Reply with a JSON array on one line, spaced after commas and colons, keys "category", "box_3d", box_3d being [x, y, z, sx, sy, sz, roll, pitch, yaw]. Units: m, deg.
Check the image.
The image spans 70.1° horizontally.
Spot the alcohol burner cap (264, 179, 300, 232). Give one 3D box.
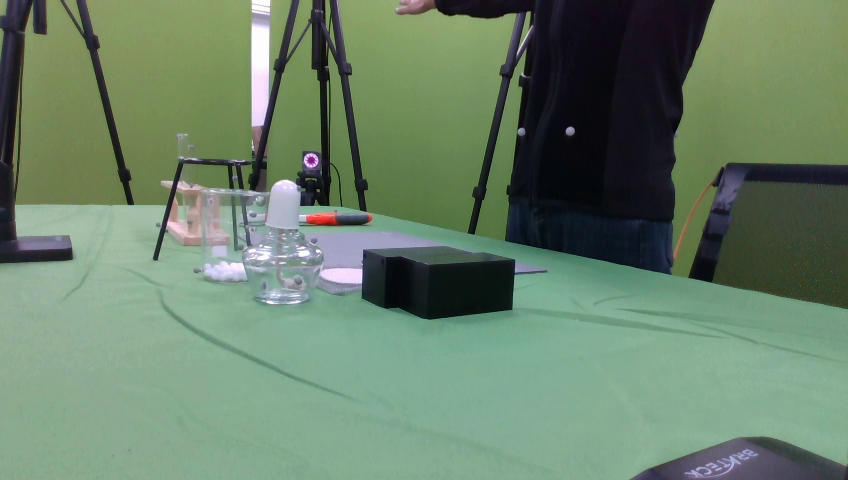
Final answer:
[{"category": "alcohol burner cap", "box_3d": [-0.134, -0.034, 0.579, 0.034, 0.048, 0.034, 9, 10, -1]}]

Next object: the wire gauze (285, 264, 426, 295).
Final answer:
[{"category": "wire gauze", "box_3d": [-0.079, 0.039, 0.692, 0.122, 0.011, 0.124, -4, 11, -37]}]

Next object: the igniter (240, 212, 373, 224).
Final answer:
[{"category": "igniter", "box_3d": [-0.237, -0.045, 1.250, 0.278, 0.025, 0.057, -2, -2, -31]}]

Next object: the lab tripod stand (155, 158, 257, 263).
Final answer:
[{"category": "lab tripod stand", "box_3d": [-0.275, -0.041, 0.797, 0.148, 0.131, 0.148, 2, 9, 0]}]

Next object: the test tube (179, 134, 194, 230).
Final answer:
[{"category": "test tube", "box_3d": [-0.366, -0.089, 0.938, 0.017, 0.150, 0.017, -1, 9, 1]}]

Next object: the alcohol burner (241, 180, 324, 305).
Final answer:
[{"category": "alcohol burner", "box_3d": [-0.136, 0.002, 0.583, 0.078, 0.119, 0.078, 1, 8, 0]}]

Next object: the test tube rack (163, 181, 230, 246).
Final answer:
[{"category": "test tube rack", "box_3d": [-0.387, -0.050, 1.015, 0.067, 0.085, 0.241, -2, 9, -30]}]

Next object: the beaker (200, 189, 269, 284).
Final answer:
[{"category": "beaker", "box_3d": [-0.209, -0.006, 0.676, 0.073, 0.100, 0.084, 7, 7, 28]}]
